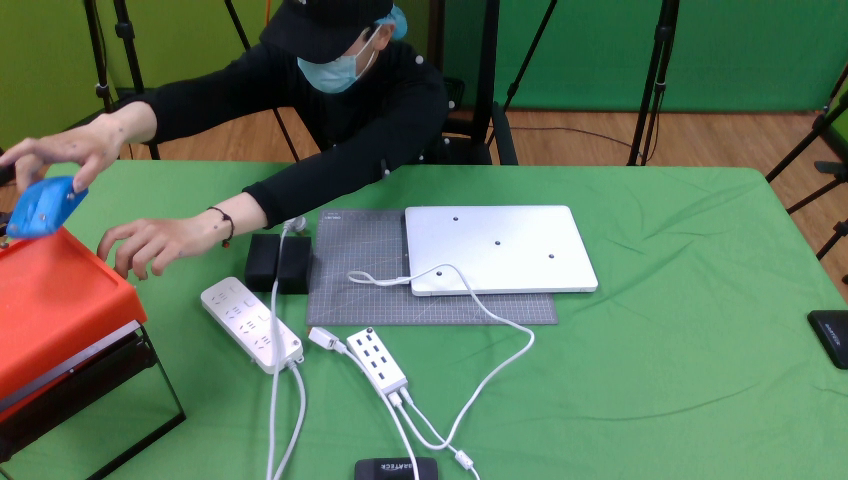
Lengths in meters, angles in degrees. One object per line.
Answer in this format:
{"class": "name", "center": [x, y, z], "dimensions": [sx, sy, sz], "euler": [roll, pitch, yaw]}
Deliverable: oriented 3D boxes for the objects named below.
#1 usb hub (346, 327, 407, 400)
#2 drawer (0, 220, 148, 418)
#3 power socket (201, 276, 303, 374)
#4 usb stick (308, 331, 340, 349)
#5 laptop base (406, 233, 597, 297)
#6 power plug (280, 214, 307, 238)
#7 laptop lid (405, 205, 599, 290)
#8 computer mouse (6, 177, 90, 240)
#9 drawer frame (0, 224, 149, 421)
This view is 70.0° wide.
{"class": "usb hub", "center": [-0.078, 0.202, 0.998], "dimensions": [0.049, 0.025, 0.124], "euler": [-23, 53, -24]}
{"class": "drawer", "center": [-0.510, 0.093, 0.784], "dimensions": [0.193, 0.073, 0.211], "euler": [32, 53, 24]}
{"class": "power socket", "center": [-0.296, 0.141, 1.034], "dimensions": [0.072, 0.033, 0.225], "euler": [-35, 58, -31]}
{"class": "usb stick", "center": [-0.173, 0.167, 1.022], "dimensions": [0.059, 0.021, 0.027], "euler": [10, 1, 25]}
{"class": "laptop base", "center": [0.143, 0.018, 1.196], "dimensions": [0.355, 0.023, 0.234], "euler": [-1, 43, -6]}
{"class": "power plug", "center": [-0.259, -0.020, 1.184], "dimensions": [0.035, 0.053, 0.072], "euler": [18, 57, 31]}
{"class": "laptop lid", "center": [0.143, 0.008, 1.189], "dimensions": [0.357, 0.013, 0.240], "euler": [0, 44, -5]}
{"class": "computer mouse", "center": [-0.487, -0.045, 0.783], "dimensions": [0.063, 0.041, 0.116], "euler": [-4, 40, 3]}
{"class": "drawer frame", "center": [-0.510, 0.093, 0.780], "dimensions": [0.201, 0.083, 0.213], "euler": [31, 52, 23]}
